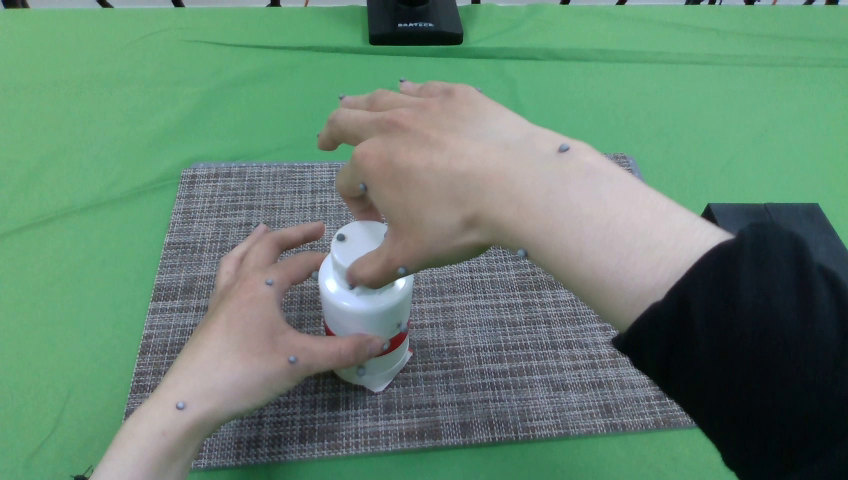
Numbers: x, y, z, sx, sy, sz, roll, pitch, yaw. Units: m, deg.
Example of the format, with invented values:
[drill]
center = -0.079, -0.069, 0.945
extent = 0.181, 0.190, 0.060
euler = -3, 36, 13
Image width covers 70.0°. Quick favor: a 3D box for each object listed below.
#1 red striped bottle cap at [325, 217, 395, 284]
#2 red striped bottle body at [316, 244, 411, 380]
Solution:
[red striped bottle cap]
center = -0.040, 0.006, 0.379
extent = 0.044, 0.018, 0.044
euler = 5, 45, -4
[red striped bottle body]
center = -0.042, 0.043, 0.422
extent = 0.063, 0.120, 0.062
euler = 3, 49, -3
